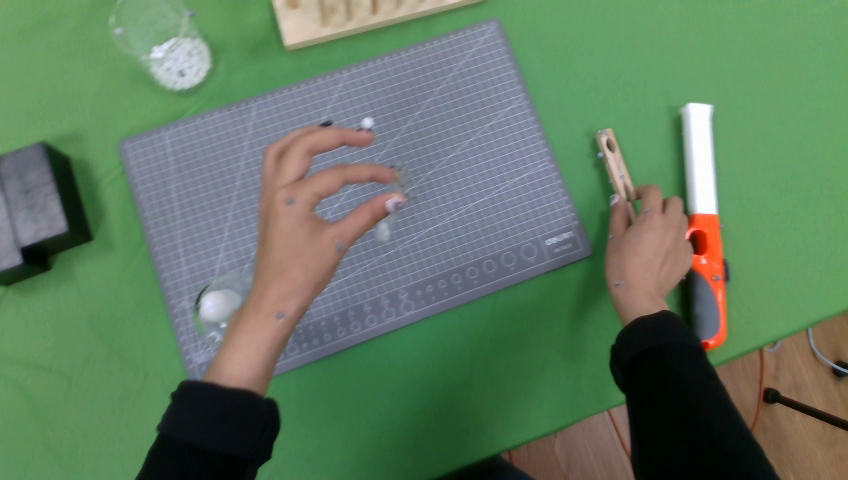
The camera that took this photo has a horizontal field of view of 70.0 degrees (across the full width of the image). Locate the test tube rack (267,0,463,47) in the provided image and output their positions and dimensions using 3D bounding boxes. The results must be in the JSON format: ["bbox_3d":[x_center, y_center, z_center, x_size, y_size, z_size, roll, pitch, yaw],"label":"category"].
[{"bbox_3d":[-0.056,-0.292,0.667,0.242,0.085,0.066,-17,82,-5],"label":"test tube rack"}]

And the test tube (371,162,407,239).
[{"bbox_3d":[-0.032,-0.028,0.506,0.017,0.150,0.017,3,73,-9],"label":"test tube"}]

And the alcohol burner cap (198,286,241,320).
[{"bbox_3d":[-0.188,0.058,0.553,0.034,0.048,0.034,0,85,-5],"label":"alcohol burner cap"}]

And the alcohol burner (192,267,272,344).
[{"bbox_3d":[-0.190,0.062,0.589,0.078,0.119,0.077,1,79,-3],"label":"alcohol burner"}]

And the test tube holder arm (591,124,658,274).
[{"bbox_3d":[0.219,-0.047,0.666,0.013,0.015,0.177,-13,74,-6],"label":"test tube holder arm"}]

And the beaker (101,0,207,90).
[{"bbox_3d":[-0.276,-0.206,0.636,0.074,0.100,0.083,-18,82,-5],"label":"beaker"}]

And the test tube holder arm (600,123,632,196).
[{"bbox_3d":[0.213,-0.090,0.679,0.010,0.015,0.087,-13,74,-6],"label":"test tube holder arm"}]

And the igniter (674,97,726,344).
[{"bbox_3d":[0.303,-0.024,0.671,0.057,0.025,0.275,2,81,-11],"label":"igniter"}]
